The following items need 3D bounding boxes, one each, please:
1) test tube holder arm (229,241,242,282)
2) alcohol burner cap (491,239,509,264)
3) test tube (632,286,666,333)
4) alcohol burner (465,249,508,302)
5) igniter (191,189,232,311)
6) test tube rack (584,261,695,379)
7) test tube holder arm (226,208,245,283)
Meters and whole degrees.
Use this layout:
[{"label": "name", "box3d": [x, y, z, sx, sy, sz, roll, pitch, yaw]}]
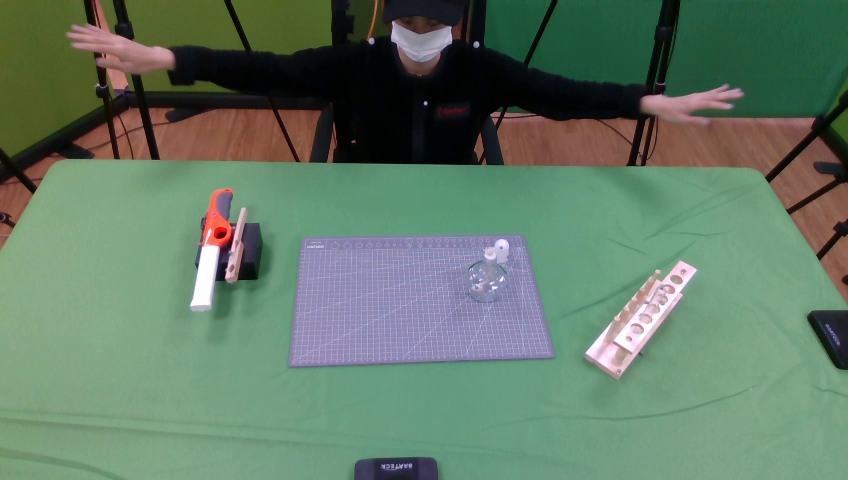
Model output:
[{"label": "test tube holder arm", "box3d": [-0.332, 0.038, 1.070, 0.010, 0.015, 0.087, -6, 47, -1]}, {"label": "alcohol burner cap", "box3d": [0.150, 0.020, 1.174, 0.034, 0.048, 0.033, 2, 46, -2]}, {"label": "test tube", "box3d": [0.363, 0.125, 0.993, 0.017, 0.151, 0.017, 2, 49, -2]}, {"label": "alcohol burner", "box3d": [0.114, 0.057, 1.085, 0.078, 0.120, 0.077, 2, 48, -2]}, {"label": "igniter", "box3d": [-0.381, 0.008, 1.092, 0.057, 0.025, 0.274, -1, 50, -6]}, {"label": "test tube rack", "box3d": [0.380, 0.127, 1.062, 0.066, 0.085, 0.242, 34, 53, 26]}, {"label": "test tube holder arm", "box3d": [-0.342, 0.006, 1.101, 0.013, 0.015, 0.177, -7, 47, -2]}]
